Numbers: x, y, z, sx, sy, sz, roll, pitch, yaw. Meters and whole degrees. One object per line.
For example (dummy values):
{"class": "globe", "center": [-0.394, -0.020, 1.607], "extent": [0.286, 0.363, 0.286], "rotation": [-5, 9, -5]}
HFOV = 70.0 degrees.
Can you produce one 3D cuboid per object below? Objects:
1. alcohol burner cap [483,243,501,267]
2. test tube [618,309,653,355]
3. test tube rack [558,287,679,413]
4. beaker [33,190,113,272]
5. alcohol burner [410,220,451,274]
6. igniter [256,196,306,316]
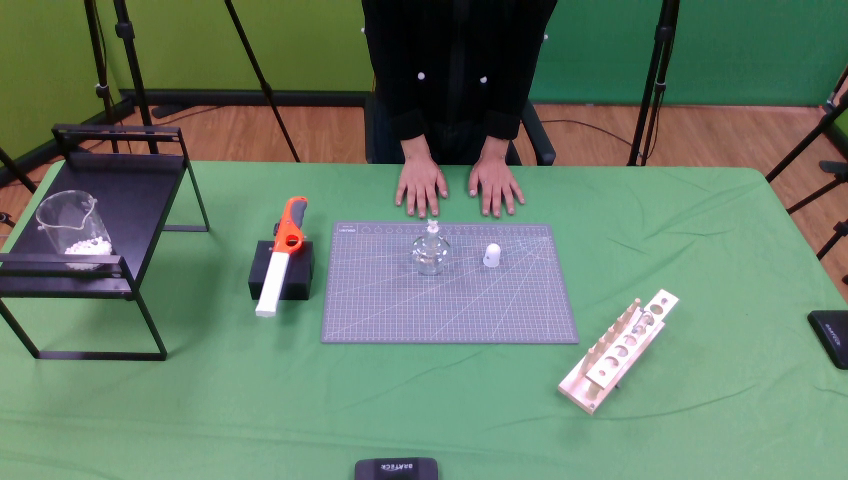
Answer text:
{"class": "alcohol burner cap", "center": [0.132, 0.025, 1.161], "extent": [0.034, 0.048, 0.033], "rotation": [3, 46, -3]}
{"class": "test tube", "center": [0.329, 0.155, 0.956], "extent": [0.017, 0.151, 0.017], "rotation": [2, 51, -2]}
{"class": "test tube rack", "center": [0.326, 0.170, 1.009], "extent": [0.066, 0.085, 0.242], "rotation": [36, 54, 27]}
{"class": "beaker", "center": [-0.493, -0.009, 0.865], "extent": [0.083, 0.101, 0.074], "rotation": [37, 55, 27]}
{"class": "alcohol burner", "center": [0.013, 0.007, 1.120], "extent": [0.078, 0.120, 0.077], "rotation": [1, 48, -1]}
{"class": "igniter", "center": [-0.255, 0.019, 1.090], "extent": [0.057, 0.025, 0.275], "rotation": [6, 48, -2]}
